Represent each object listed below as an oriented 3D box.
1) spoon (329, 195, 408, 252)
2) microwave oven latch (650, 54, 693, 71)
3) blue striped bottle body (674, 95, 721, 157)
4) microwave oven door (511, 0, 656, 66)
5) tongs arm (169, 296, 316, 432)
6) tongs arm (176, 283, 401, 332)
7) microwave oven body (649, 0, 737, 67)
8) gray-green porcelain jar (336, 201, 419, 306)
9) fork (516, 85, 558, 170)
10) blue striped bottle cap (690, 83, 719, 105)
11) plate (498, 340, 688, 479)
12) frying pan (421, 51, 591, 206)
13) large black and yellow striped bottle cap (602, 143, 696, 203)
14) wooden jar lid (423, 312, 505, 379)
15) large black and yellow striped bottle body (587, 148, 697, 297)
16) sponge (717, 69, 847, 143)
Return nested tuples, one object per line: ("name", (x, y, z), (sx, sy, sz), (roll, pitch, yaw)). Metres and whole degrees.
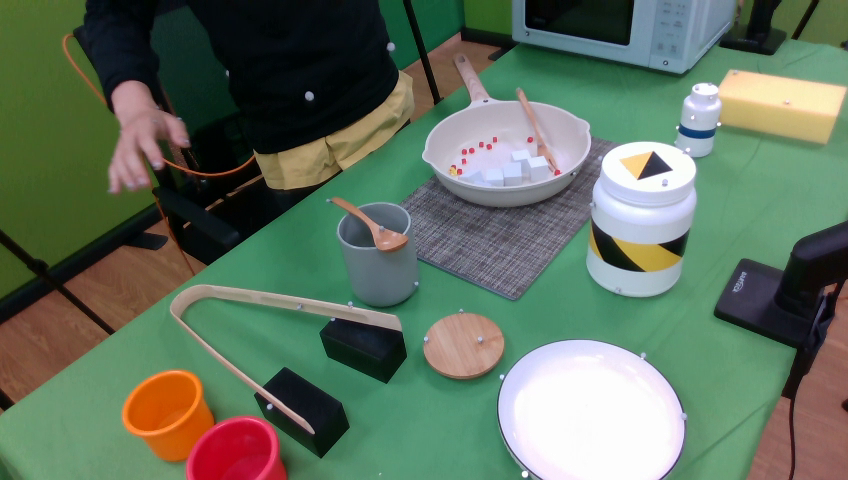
("spoon", (-0.082, -0.029, 0.828), (0.042, 0.022, 0.192), (-32, 43, -20))
("microwave oven latch", (0.531, -0.386, 1.301), (0.078, 0.029, 0.030), (26, 51, 33))
("blue striped bottle body", (0.486, -0.213, 1.071), (0.063, 0.121, 0.063), (-4, 41, 4))
("microwave oven door", (0.351, -0.539, 1.349), (0.353, 0.245, 0.039), (24, 50, 31))
("tongs arm", (-0.248, 0.149, 0.775), (0.384, 0.028, 0.028), (20, 57, 44))
("tongs arm", (-0.199, 0.096, 0.823), (0.382, 0.027, 0.051), (7, 45, 33))
("microwave oven body", (0.475, -0.602, 1.411), (0.438, 0.261, 0.327), (23, 50, 32))
("gray-green porcelain jar", (-0.064, 0.024, 0.872), (0.106, 0.127, 0.105), (-4, 41, 4))
("fork", (0.208, -0.213, 1.134), (0.028, 0.019, 0.206), (-16, 66, 1))
("blue striped bottle cap", (0.481, -0.251, 1.038), (0.044, 0.021, 0.044), (-5, 40, 5))
("plate", (0.189, 0.206, 0.692), (0.207, 0.039, 0.206), (-4, 40, 4))
("frying pan", (0.127, -0.233, 1.154), (0.307, 0.103, 0.484), (-11, 49, -5))
("large black and yellow striped bottle cap", (0.289, -0.088, 0.779), (0.115, 0.019, 0.114), (-5, 39, 4))
("wooden jar lid", (0.053, 0.142, 0.800), (0.108, 0.021, 0.108), (-4, 39, 4))
("large black and yellow striped bottle body", (0.298, -0.026, 0.835), (0.131, 0.185, 0.130), (-4, 41, 4))
("sponge", (0.663, -0.256, 1.142), (0.205, 0.061, 0.118), (19, 47, 28))
